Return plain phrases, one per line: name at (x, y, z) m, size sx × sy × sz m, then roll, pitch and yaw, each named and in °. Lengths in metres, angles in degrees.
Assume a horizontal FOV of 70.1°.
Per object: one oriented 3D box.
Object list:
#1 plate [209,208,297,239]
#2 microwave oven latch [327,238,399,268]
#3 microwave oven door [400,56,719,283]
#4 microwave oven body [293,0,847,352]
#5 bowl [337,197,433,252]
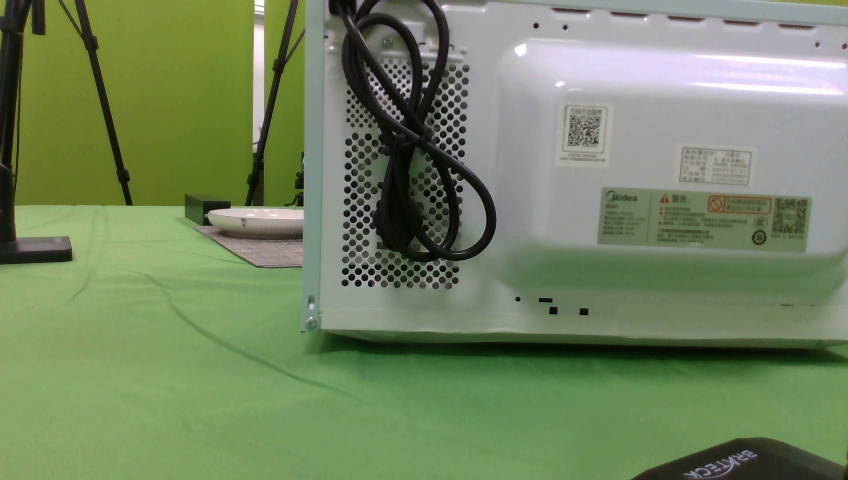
plate at (-0.271, -0.029, 1.074) m, size 0.208 × 0.039 × 0.207 m, roll 3°, pitch 7°, yaw 0°
microwave oven latch at (-0.069, 0.015, 0.694) m, size 0.079 × 0.029 × 0.030 m, roll 3°, pitch 7°, yaw -3°
microwave oven door at (0.155, -0.077, 0.698) m, size 0.356 × 0.243 × 0.039 m, roll 2°, pitch 8°, yaw -5°
microwave oven body at (0.122, -0.055, 0.550) m, size 0.442 × 0.260 × 0.325 m, roll 3°, pitch 7°, yaw -5°
bowl at (-0.062, -0.025, 0.955) m, size 0.151 × 0.077 × 0.151 m, roll 3°, pitch 8°, yaw 0°
